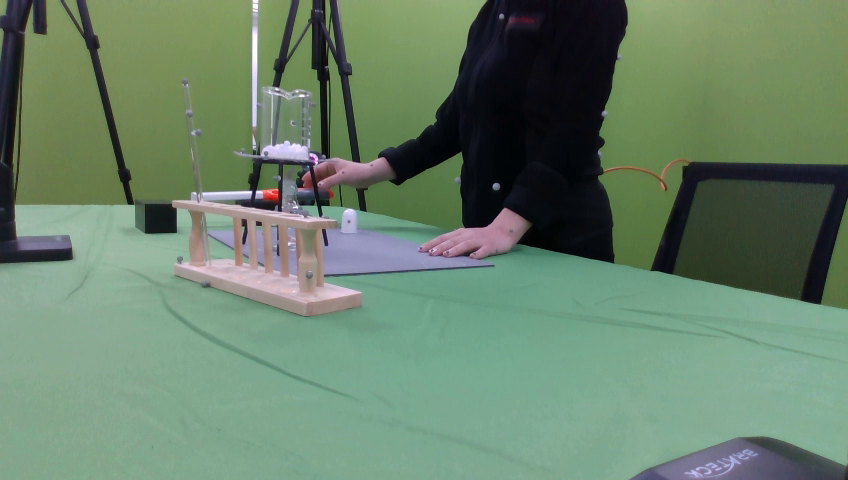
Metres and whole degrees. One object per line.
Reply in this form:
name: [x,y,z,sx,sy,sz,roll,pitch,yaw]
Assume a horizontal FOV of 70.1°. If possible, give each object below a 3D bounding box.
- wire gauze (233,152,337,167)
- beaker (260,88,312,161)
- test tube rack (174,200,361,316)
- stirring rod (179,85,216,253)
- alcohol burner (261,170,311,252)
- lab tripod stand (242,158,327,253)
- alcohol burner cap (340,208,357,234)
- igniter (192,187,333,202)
wire gauze: [-0.205,-0.119,0.887,0.122,0.011,0.124,2,4,-32]
beaker: [-0.201,-0.166,0.876,0.074,0.100,0.083,1,7,-18]
test tube rack: [-0.169,0.009,0.622,0.241,0.085,0.067,9,9,41]
stirring rod: [-0.237,-0.073,0.634,0.006,0.176,0.014,0,10,42]
alcohol burner: [-0.201,-0.043,0.891,0.078,0.119,0.078,1,6,0]
lab tripod stand: [-0.207,-0.054,0.895,0.148,0.131,0.148,2,5,0]
alcohol burner cap: [-0.142,-0.035,1.136,0.034,0.048,0.034,2,7,0]
igniter: [-0.316,-0.090,1.214,0.278,0.025,0.057,-5,13,-31]
